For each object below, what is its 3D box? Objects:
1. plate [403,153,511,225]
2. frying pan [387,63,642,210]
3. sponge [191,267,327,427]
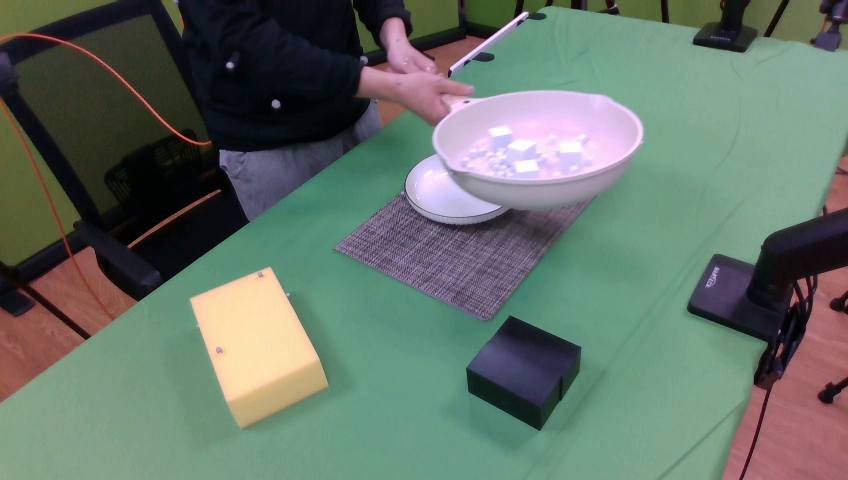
[{"bbox_3d":[0.069,-0.089,1.043,0.207,0.039,0.206,-4,40,4],"label":"plate"},{"bbox_3d":[0.096,-0.187,0.936,0.308,0.103,0.483,-27,48,-28],"label":"frying pan"},{"bbox_3d":[-0.226,0.135,0.814,0.119,0.061,0.205,-23,43,-19],"label":"sponge"}]
